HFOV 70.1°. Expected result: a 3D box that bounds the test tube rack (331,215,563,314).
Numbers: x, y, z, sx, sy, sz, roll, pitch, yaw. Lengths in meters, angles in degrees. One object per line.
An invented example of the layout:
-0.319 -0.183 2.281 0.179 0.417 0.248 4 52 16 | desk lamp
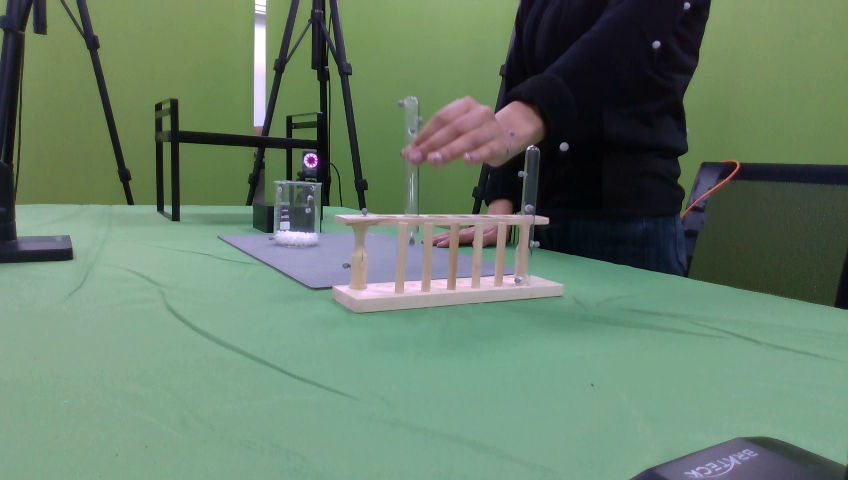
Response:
0.031 0.019 0.625 0.243 0.085 0.066 -1 8 -28 | test tube rack

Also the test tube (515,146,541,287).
0.110 -0.024 0.638 0.017 0.150 0.017 4 6 0 | test tube

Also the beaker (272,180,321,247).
-0.197 -0.042 0.944 0.073 0.100 0.084 7 8 29 | beaker

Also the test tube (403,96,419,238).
-0.013 -0.076 0.624 0.017 0.150 0.017 -1 -8 0 | test tube
